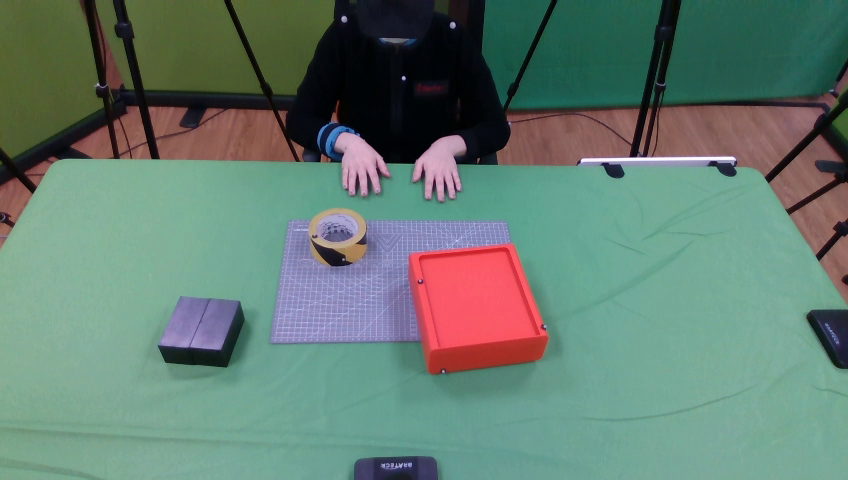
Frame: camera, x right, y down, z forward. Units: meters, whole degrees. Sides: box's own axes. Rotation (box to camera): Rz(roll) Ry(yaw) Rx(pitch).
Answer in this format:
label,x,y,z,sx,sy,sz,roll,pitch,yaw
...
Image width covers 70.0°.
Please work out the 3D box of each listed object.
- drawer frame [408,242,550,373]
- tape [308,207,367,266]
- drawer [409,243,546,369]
label,x,y,z,sx,sy,sz,roll,pitch,yaw
drawer frame,0.087,0.111,1.051,0.202,0.083,0.212,-6,48,-10
tape,-0.167,-0.008,1.167,0.117,0.053,0.116,3,46,-3
drawer,0.085,0.110,1.053,0.195,0.073,0.210,-5,47,-10
